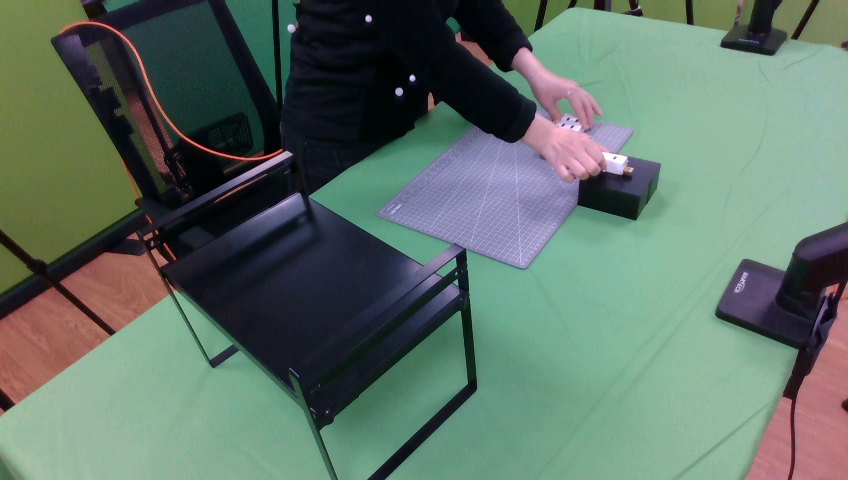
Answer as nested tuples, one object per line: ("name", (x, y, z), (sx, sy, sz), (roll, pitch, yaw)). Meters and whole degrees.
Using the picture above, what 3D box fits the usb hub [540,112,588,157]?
("usb hub", (0.271, -0.203, 1.164), (0.049, 0.025, 0.125), (20, 48, 27))

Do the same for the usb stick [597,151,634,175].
("usb stick", (0.316, -0.125, 0.994), (0.059, 0.027, 0.021), (24, 52, 26))
